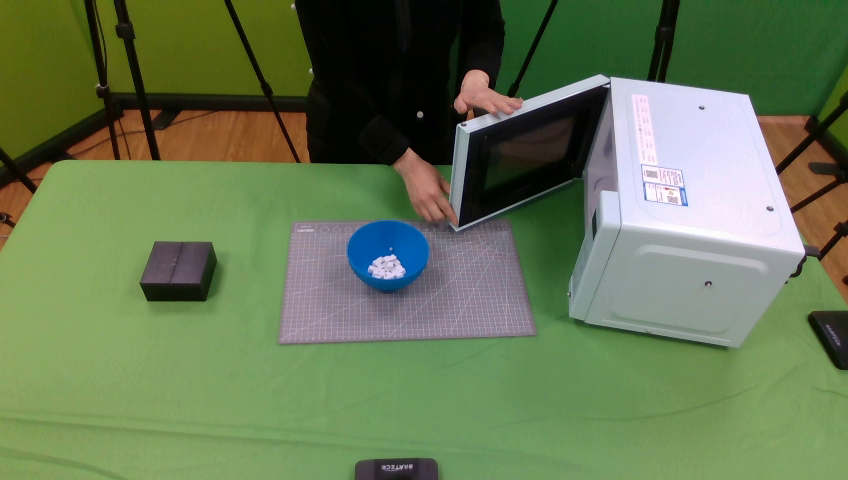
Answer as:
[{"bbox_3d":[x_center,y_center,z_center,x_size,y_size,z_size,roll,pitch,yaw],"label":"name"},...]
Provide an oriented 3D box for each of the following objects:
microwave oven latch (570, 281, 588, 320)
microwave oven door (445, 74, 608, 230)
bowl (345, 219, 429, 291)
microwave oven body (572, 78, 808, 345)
[{"bbox_3d":[0.275,0.105,1.082,0.030,0.029,0.079,10,45,6],"label":"microwave oven latch"},{"bbox_3d":[0.205,-0.177,1.208,0.356,0.245,0.039,-24,53,-24],"label":"microwave oven door"},{"bbox_3d":[-0.068,0.041,1.110,0.151,0.077,0.150,2,46,-2],"label":"bowl"},{"bbox_3d":[0.455,-0.063,1.125,0.326,0.261,0.439,8,45,5],"label":"microwave oven body"}]
